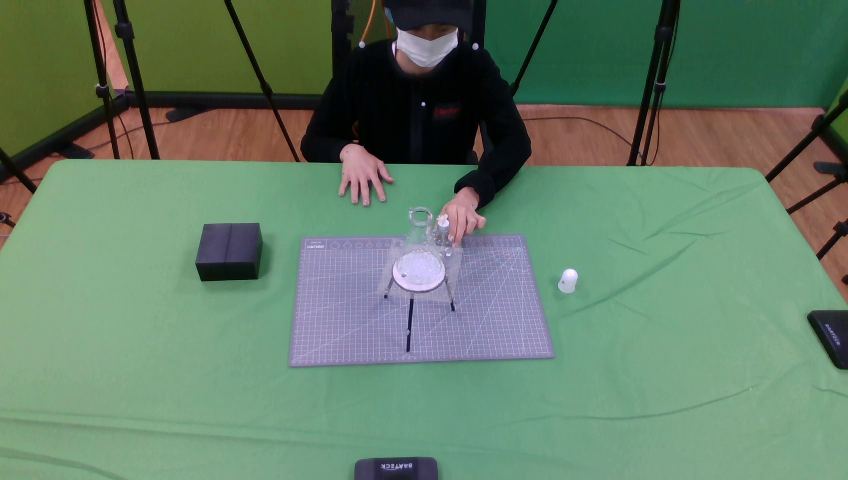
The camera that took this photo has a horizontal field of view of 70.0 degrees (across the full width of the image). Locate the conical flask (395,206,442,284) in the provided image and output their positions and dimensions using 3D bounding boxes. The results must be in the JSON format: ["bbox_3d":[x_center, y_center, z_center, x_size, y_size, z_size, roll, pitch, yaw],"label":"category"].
[{"bbox_3d":[-0.007,0.005,0.937,0.075,0.122,0.075,2,45,-1],"label":"conical flask"}]

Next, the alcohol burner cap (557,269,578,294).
[{"bbox_3d":[0.270,0.075,1.135,0.034,0.048,0.033,3,46,-2],"label":"alcohol burner cap"}]

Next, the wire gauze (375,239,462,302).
[{"bbox_3d":[-0.006,0.049,0.977,0.121,0.011,0.124,10,44,5],"label":"wire gauze"}]

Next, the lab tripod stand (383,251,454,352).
[{"bbox_3d":[-0.015,0.094,1.025,0.148,0.132,0.147,1,46,-1],"label":"lab tripod stand"}]

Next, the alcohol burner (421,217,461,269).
[{"bbox_3d":[0.033,-0.001,1.135,0.078,0.119,0.077,2,48,-2],"label":"alcohol burner"}]
